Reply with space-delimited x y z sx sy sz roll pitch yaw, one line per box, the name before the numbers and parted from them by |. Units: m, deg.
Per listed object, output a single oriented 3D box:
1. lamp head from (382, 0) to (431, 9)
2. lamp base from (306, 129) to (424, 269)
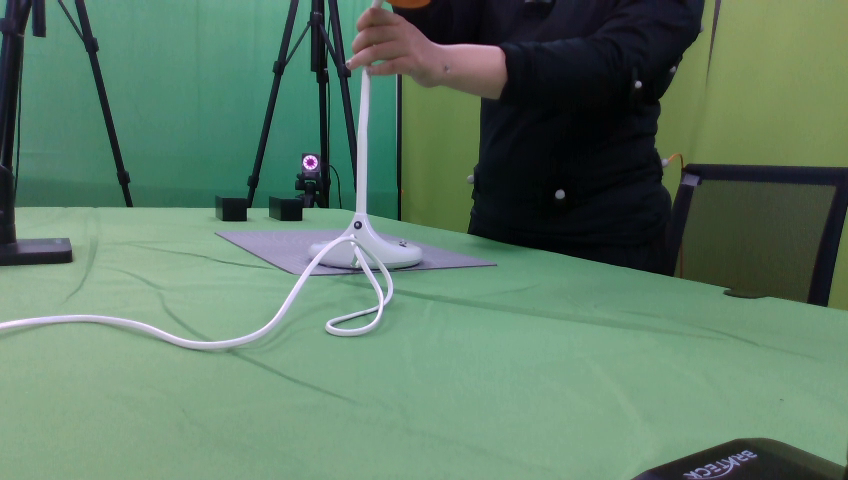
lamp head | -0.021 -0.324 0.676 0.112 0.123 0.112 5 4 0
lamp base | -0.077 -0.057 0.811 0.161 0.180 0.179 2 10 -4
